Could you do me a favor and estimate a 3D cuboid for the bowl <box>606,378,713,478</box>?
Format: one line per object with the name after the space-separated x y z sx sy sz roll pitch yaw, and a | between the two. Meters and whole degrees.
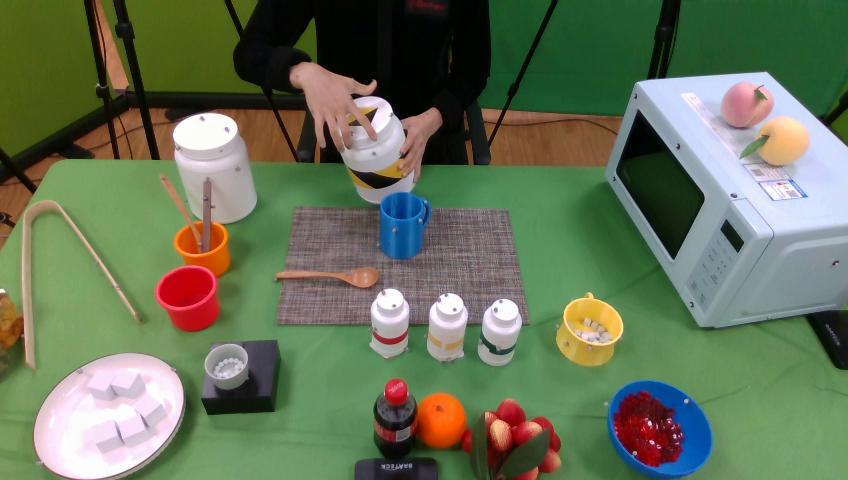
0.340 0.292 0.906 0.151 0.077 0.150 2 46 -2 | bowl

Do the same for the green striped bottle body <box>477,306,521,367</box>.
0.124 0.151 0.995 0.063 0.120 0.063 2 46 -2 | green striped bottle body

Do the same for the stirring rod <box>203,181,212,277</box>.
-0.396 -0.021 1.108 0.014 0.006 0.176 -1 89 -1 | stirring rod

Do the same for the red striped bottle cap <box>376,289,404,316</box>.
-0.054 0.098 0.958 0.044 0.018 0.044 0 48 0 | red striped bottle cap

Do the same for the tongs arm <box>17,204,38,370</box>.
-0.698 0.069 1.068 0.028 0.028 0.385 -20 50 -13 | tongs arm

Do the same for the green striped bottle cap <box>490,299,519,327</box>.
0.127 0.115 0.958 0.044 0.020 0.044 3 48 -3 | green striped bottle cap

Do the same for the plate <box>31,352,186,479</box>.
-0.459 0.262 0.898 0.209 0.038 0.208 2 46 -2 | plate

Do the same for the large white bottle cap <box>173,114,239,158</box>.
-0.403 -0.195 1.122 0.115 0.018 0.114 2 47 -2 | large white bottle cap

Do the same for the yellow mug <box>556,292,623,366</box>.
0.285 0.145 1.051 0.100 0.064 0.130 7 45 3 | yellow mug

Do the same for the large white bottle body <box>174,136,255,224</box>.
-0.408 -0.137 1.183 0.131 0.185 0.130 2 46 -2 | large white bottle body

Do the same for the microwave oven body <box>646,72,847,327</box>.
0.607 -0.089 1.164 0.326 0.261 0.438 -7 46 -10 | microwave oven body

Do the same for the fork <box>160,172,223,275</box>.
-0.425 -0.030 1.103 0.028 0.018 0.207 -29 98 -19 | fork

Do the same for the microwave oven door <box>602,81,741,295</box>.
0.456 -0.107 1.162 0.039 0.245 0.353 -7 47 -11 | microwave oven door

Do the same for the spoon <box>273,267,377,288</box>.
-0.183 0.065 1.115 0.194 0.022 0.041 3 67 -1 | spoon

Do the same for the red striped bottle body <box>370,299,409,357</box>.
-0.057 0.135 0.997 0.063 0.120 0.062 2 47 -2 | red striped bottle body

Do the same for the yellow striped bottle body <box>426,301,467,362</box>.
0.037 0.142 0.996 0.063 0.121 0.062 2 46 -2 | yellow striped bottle body

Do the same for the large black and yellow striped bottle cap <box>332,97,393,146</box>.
-0.115 -0.222 1.123 0.115 0.019 0.114 -7 52 9 | large black and yellow striped bottle cap

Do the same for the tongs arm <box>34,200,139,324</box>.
-0.622 0.034 1.105 0.051 0.026 0.382 -32 55 -26 | tongs arm

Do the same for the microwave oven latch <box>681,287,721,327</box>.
0.494 0.119 1.087 0.030 0.029 0.078 -6 46 -9 | microwave oven latch

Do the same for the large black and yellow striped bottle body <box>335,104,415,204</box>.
-0.097 -0.173 1.190 0.131 0.185 0.130 -6 54 9 | large black and yellow striped bottle body

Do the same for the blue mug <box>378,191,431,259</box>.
-0.033 -0.035 1.167 0.116 0.106 0.082 -30 55 -29 | blue mug

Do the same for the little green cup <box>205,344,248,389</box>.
-0.294 0.191 0.909 0.061 0.039 0.061 1 48 -1 | little green cup

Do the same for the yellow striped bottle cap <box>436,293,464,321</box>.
0.041 0.106 0.959 0.044 0.019 0.044 0 50 1 | yellow striped bottle cap
